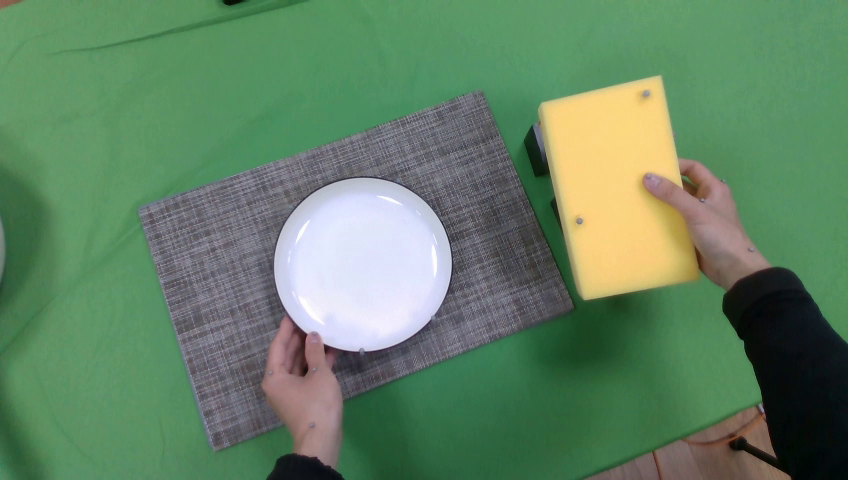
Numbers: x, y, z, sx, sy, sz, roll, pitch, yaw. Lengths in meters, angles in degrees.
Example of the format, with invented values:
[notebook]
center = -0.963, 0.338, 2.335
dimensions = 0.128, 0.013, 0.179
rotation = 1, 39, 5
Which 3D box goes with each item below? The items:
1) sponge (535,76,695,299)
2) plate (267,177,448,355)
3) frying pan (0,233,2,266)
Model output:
[sponge]
center = 0.196, -0.052, 0.633
dimensions = 0.118, 0.061, 0.207
rotation = -13, 94, 7
[plate]
center = -0.077, 0.030, 0.712
dimensions = 0.208, 0.039, 0.207
rotation = 0, 80, -2
[frying pan]
center = -0.568, 0.108, 0.650
dimensions = 0.307, 0.103, 0.484
rotation = -28, 74, -6
